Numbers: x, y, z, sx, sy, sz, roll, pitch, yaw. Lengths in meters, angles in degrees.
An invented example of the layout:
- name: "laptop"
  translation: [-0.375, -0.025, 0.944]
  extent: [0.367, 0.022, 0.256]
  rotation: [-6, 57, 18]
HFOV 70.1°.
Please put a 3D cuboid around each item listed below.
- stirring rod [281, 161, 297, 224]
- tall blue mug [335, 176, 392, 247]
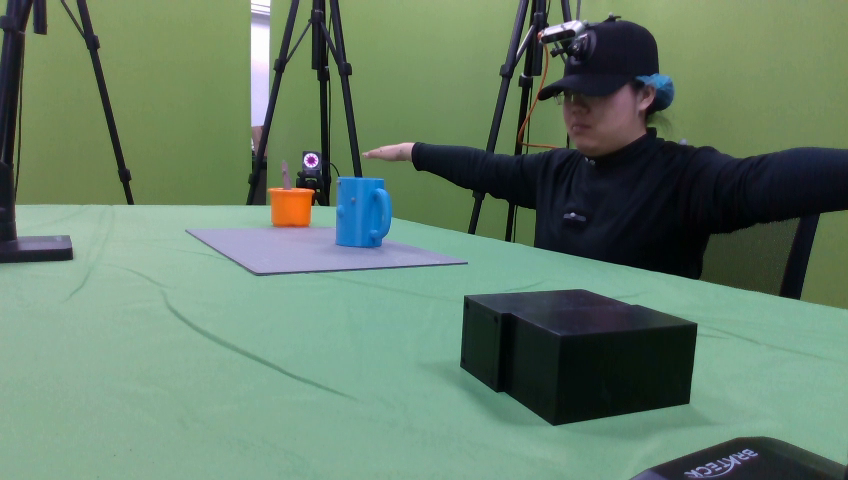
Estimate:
- name: "stirring rod"
  translation: [-0.278, -0.099, 1.239]
  extent: [0.014, 0.006, 0.175]
  rotation: [2, 49, -25]
- name: "tall blue mug"
  translation: [-0.089, -0.046, 0.971]
  extent: [0.107, 0.108, 0.078]
  rotation: [5, 7, 20]
